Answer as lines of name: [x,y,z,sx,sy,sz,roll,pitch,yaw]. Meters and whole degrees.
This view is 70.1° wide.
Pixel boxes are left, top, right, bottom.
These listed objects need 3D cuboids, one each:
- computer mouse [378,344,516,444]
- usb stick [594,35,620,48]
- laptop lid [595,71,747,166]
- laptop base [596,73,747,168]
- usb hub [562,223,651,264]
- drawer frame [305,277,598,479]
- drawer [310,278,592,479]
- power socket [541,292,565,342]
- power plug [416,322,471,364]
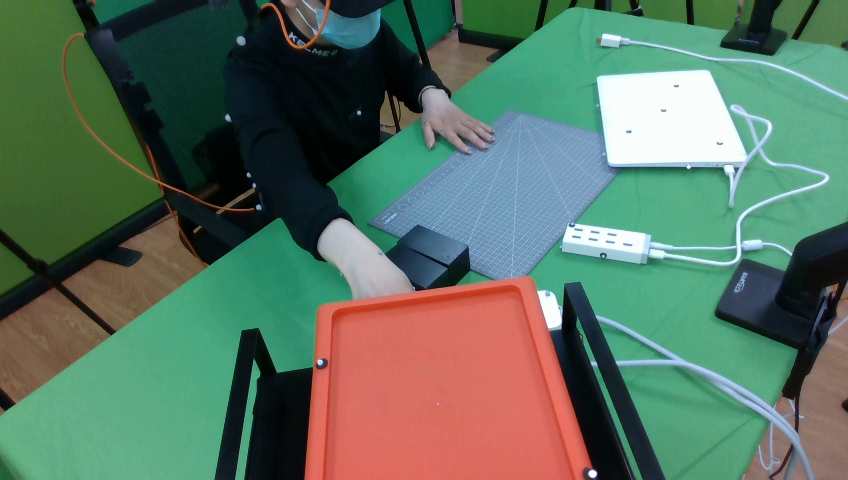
computer mouse: [0.018,0.126,0.520,0.116,0.041,0.063,13,47,29]
usb stick: [0.443,-0.482,1.466,0.059,0.021,0.027,9,43,10]
laptop lid: [0.466,-0.247,1.181,0.241,0.013,0.355,1,41,12]
laptop base: [0.469,-0.238,1.189,0.235,0.023,0.353,-1,40,11]
usb hub: [0.279,0.005,0.925,0.124,0.025,0.049,10,42,19]
drawer frame: [0.014,0.137,0.486,0.202,0.083,0.212,-8,41,-1]
drawer: [0.013,0.137,0.489,0.195,0.073,0.210,-7,41,0]
power socket: [0.080,0.112,0.822,0.227,0.033,0.072,-5,41,2]
power plug: [0.023,0.135,0.782,0.073,0.035,0.052,30,35,-17]
